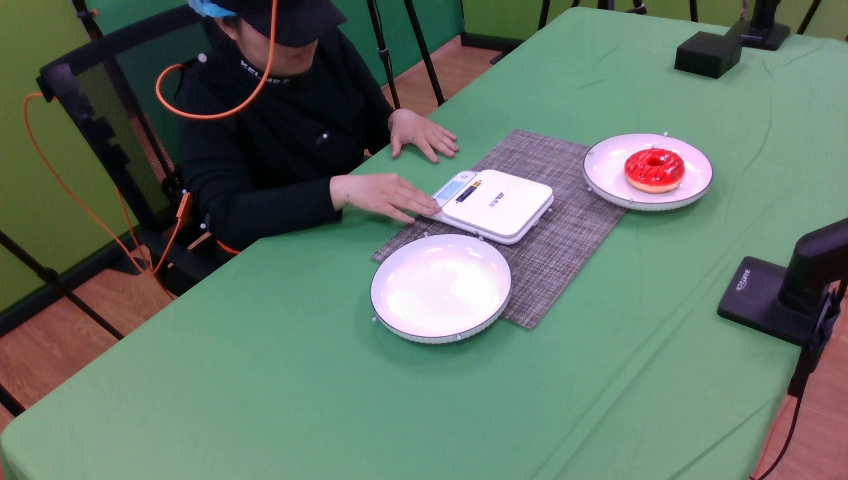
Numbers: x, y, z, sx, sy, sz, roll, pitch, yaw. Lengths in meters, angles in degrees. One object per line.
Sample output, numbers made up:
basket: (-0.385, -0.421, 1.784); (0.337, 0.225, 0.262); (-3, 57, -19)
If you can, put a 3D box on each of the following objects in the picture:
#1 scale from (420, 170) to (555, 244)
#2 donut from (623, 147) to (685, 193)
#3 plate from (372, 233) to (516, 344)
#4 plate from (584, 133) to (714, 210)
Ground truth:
scale: (0.106, -0.064, 1.029); (0.199, 0.032, 0.149); (21, 48, 32)
donut: (0.388, -0.119, 1.019); (0.099, 0.048, 0.098); (-4, 42, 5)
plate: (0.030, 0.072, 0.879); (0.207, 0.039, 0.206); (-6, 42, 6)
plate: (0.379, -0.113, 1.030); (0.209, 0.038, 0.208); (-4, 41, 4)
